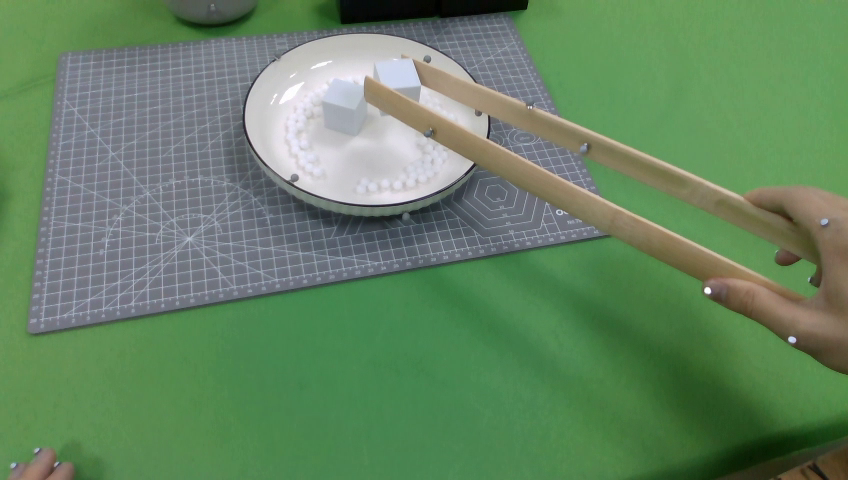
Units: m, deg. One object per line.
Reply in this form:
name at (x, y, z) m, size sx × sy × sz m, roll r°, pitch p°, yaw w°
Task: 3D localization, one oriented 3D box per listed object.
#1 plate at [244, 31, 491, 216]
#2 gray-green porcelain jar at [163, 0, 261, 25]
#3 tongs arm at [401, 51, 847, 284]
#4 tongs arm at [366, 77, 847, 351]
plate at (-0.047, -0.102, 0.527) m, size 0.209 × 0.038 × 0.207 m, roll 3°, pitch 56°, yaw -3°
gray-green porcelain jar at (-0.214, -0.285, 0.585) m, size 0.106 × 0.127 × 0.105 m, roll 2°, pitch 55°, yaw -3°
tongs arm at (0.131, -0.046, 0.422) m, size 0.382 × 0.027 × 0.050 m, roll 28°, pitch 55°, yaw 19°
tongs arm at (0.113, -0.028, 0.408) m, size 0.385 × 0.028 × 0.028 m, roll 30°, pitch 52°, yaw 20°
